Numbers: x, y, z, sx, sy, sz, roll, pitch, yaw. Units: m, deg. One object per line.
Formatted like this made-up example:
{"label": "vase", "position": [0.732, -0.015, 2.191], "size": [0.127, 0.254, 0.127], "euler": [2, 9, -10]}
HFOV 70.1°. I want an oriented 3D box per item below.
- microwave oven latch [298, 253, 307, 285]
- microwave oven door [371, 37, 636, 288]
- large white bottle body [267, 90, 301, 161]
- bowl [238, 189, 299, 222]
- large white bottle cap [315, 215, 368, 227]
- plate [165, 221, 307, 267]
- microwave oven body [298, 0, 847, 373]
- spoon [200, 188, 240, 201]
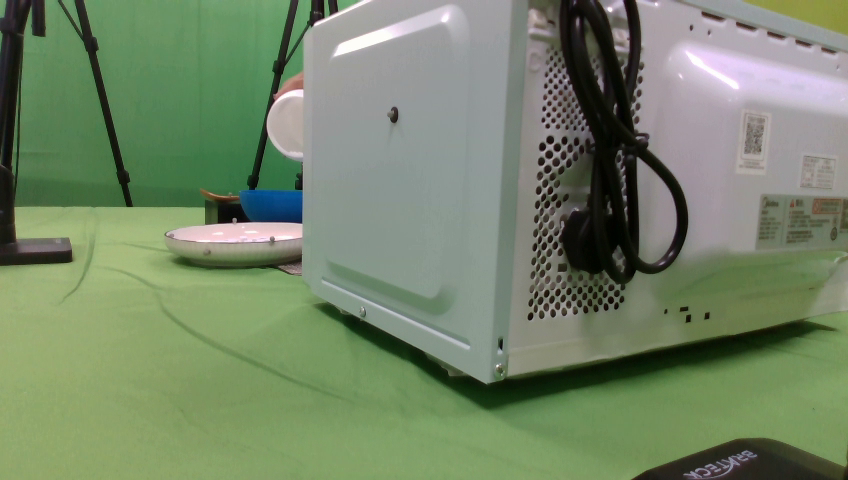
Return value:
{"label": "microwave oven latch", "position": [-0.082, 0.027, 0.583], "size": [0.079, 0.029, 0.030], "euler": [-2, 7, -33]}
{"label": "microwave oven door", "position": [0.109, -0.080, 0.686], "size": [0.358, 0.243, 0.039], "euler": [-2, 9, -33]}
{"label": "large white bottle body", "position": [-0.220, -0.219, 1.155], "size": [0.130, 0.130, 0.184], "euler": [3, 12, 2]}
{"label": "bowl", "position": [-0.245, -0.045, 1.052], "size": [0.151, 0.077, 0.151], "euler": [3, 8, 0]}
{"label": "large white bottle cap", "position": [-0.178, -0.041, 1.309], "size": [0.115, 0.018, 0.115], "euler": [2, 6, 0]}
{"label": "plate", "position": [-0.241, 0.004, 0.829], "size": [0.209, 0.038, 0.209], "euler": [0, 9, 0]}
{"label": "microwave oven body", "position": [0.151, -0.055, 0.542], "size": [0.444, 0.260, 0.324], "euler": [-2, 7, -33]}
{"label": "spoon", "position": [-0.338, -0.080, 1.190], "size": [0.194, 0.021, 0.041], "euler": [5, 3, -19]}
